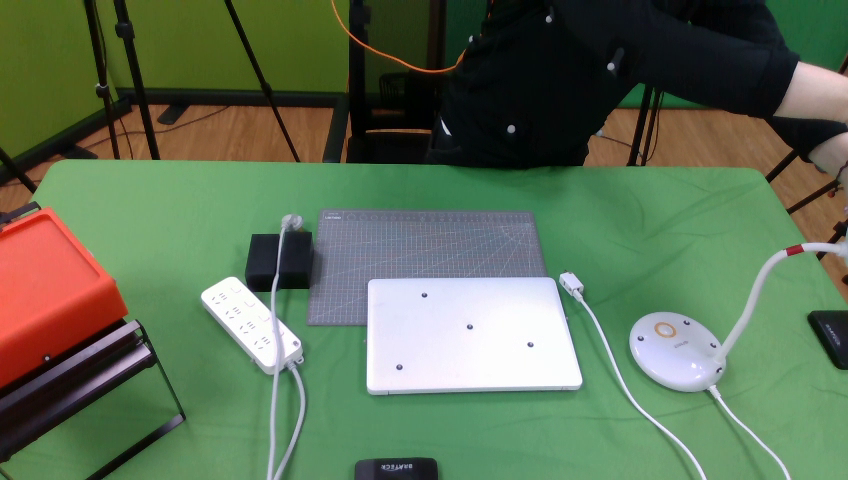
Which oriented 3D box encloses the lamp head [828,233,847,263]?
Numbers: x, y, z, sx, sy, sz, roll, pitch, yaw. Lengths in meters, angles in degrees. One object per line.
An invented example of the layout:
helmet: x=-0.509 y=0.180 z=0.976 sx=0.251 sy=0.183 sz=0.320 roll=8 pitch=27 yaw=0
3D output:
lamp head: x=0.578 y=-0.001 z=0.753 sx=0.112 sy=0.123 sz=0.111 roll=1 pitch=48 yaw=-1

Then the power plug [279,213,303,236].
power plug: x=-0.264 y=-0.021 z=1.184 sx=0.035 sy=0.053 sz=0.072 roll=2 pitch=48 yaw=32

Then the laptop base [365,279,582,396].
laptop base: x=0.077 y=0.162 z=1.053 sx=0.355 sy=0.023 sz=0.234 roll=0 pitch=44 yaw=-4

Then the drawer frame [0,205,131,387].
drawer frame: x=-0.539 y=0.076 z=0.795 sx=0.200 sy=0.083 sz=0.213 roll=36 pitch=54 yaw=26

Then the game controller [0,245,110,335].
game controller: x=-0.511 y=0.062 z=0.830 sx=0.097 sy=0.052 sz=0.154 roll=-30 pitch=58 yaw=-31

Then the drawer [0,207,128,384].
drawer: x=-0.540 y=0.074 z=0.799 sx=0.193 sy=0.073 sz=0.211 roll=37 pitch=55 yaw=27

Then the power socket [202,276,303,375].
power socket: x=-0.296 y=0.142 z=1.033 sx=0.072 sy=0.033 sz=0.225 roll=-34 pitch=58 yaw=-31

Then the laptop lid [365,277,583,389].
laptop lid: x=0.078 y=0.152 z=1.046 sx=0.357 sy=0.013 sz=0.240 roll=1 pitch=45 yaw=-3

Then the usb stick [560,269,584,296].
usb stick: x=0.275 y=0.077 z=1.142 sx=0.027 sy=0.021 sz=0.059 roll=-12 pitch=39 yaw=-13

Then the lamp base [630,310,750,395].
lamp base: x=0.447 y=0.143 z=0.984 sx=0.161 sy=0.181 sz=0.178 roll=-24 pitch=55 yaw=-24
